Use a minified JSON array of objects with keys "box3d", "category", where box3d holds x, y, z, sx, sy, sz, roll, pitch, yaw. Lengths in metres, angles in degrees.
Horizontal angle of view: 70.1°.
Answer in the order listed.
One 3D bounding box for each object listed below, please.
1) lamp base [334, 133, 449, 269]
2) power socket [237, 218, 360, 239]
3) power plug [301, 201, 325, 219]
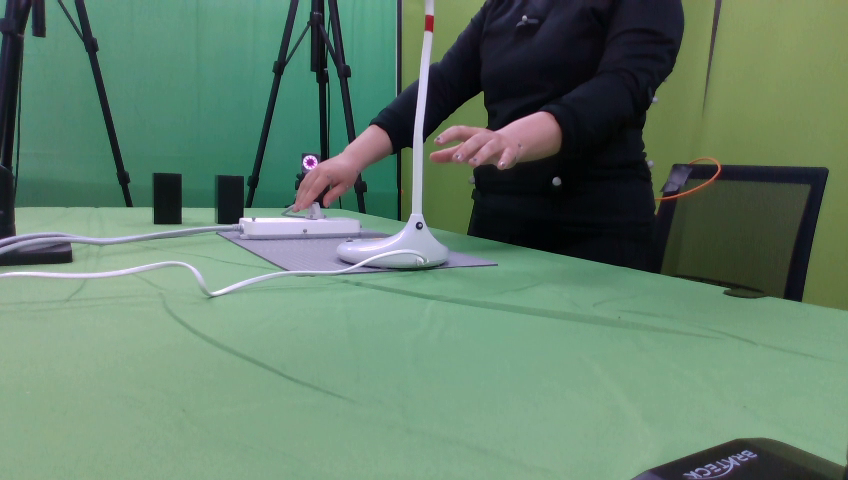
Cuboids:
[{"box3d":[-0.033,-0.057,0.831,0.161,0.180,0.178,-3,12,-36],"category":"lamp base"},{"box3d":[-0.220,-0.023,1.079,0.228,0.032,0.072,-2,7,-32],"category":"power socket"},{"box3d":[-0.206,-0.046,1.121,0.035,0.052,0.072,0,6,-19],"category":"power plug"}]
